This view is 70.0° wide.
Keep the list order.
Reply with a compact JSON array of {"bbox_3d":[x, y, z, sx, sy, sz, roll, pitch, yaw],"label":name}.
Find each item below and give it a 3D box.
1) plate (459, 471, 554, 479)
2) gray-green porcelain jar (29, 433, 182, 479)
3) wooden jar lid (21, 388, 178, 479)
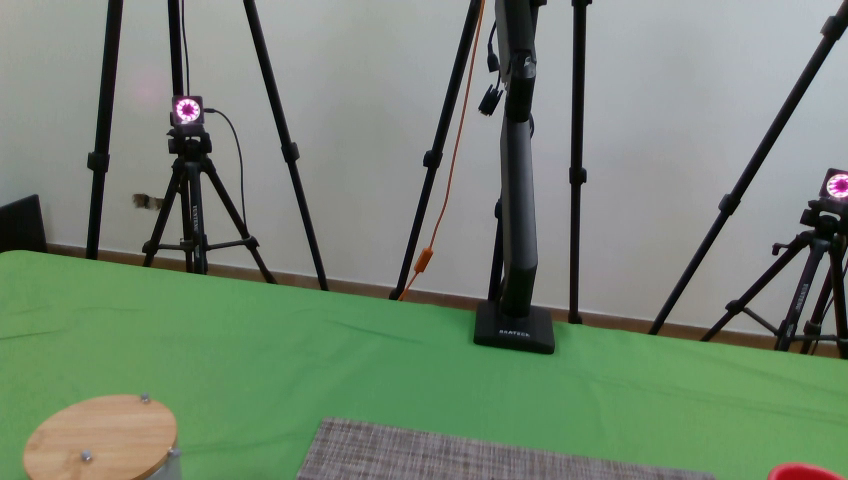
[{"bbox_3d":[0.086,0.289,0.518,0.208,0.039,0.206,5,24,-2],"label":"plate"},{"bbox_3d":[-0.258,0.217,0.505,0.106,0.127,0.105,5,24,-2],"label":"gray-green porcelain jar"},{"bbox_3d":[-0.253,0.158,0.479,0.108,0.021,0.107,7,24,-3],"label":"wooden jar lid"}]
